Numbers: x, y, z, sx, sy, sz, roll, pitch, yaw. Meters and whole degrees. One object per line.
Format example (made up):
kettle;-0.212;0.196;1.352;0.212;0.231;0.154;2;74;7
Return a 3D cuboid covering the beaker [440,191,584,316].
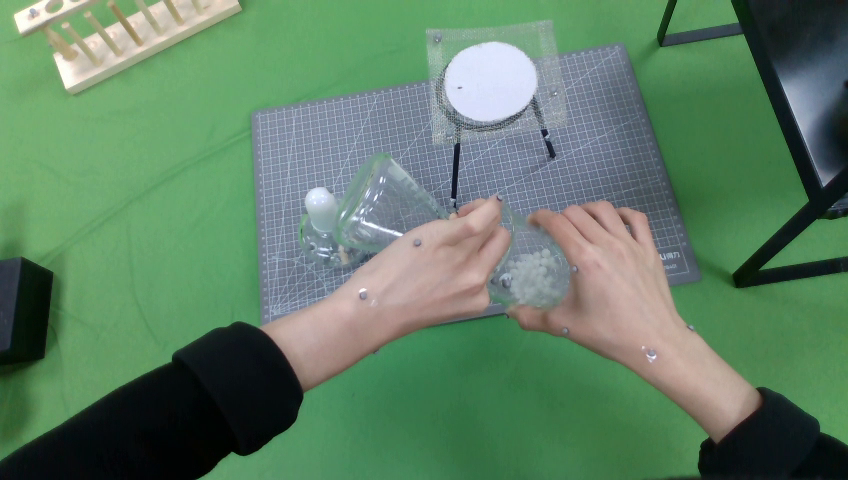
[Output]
beaker;0.072;0.017;0.486;0.084;0.101;0.073;-43;41;27

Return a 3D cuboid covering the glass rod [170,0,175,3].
glass rod;-0.331;-0.352;0.704;0.008;0.201;0.008;0;66;1

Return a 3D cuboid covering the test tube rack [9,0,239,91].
test tube rack;-0.366;-0.287;0.755;0.242;0.086;0.066;-29;69;-5

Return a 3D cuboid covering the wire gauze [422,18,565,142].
wire gauze;0.062;-0.151;0.555;0.121;0.011;0.124;-4;69;3

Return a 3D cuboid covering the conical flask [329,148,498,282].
conical flask;-0.003;-0.010;0.454;0.123;0.075;0.075;28;71;-19

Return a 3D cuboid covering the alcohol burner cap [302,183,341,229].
alcohol burner cap;-0.099;-0.035;0.573;0.034;0.048;0.033;-2;62;3

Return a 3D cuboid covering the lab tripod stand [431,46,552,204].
lab tripod stand;0.062;-0.121;0.617;0.148;0.132;0.147;-2;67;4

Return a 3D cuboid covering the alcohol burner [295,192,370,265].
alcohol burner;-0.095;-0.019;0.606;0.078;0.120;0.077;-1;67;4
